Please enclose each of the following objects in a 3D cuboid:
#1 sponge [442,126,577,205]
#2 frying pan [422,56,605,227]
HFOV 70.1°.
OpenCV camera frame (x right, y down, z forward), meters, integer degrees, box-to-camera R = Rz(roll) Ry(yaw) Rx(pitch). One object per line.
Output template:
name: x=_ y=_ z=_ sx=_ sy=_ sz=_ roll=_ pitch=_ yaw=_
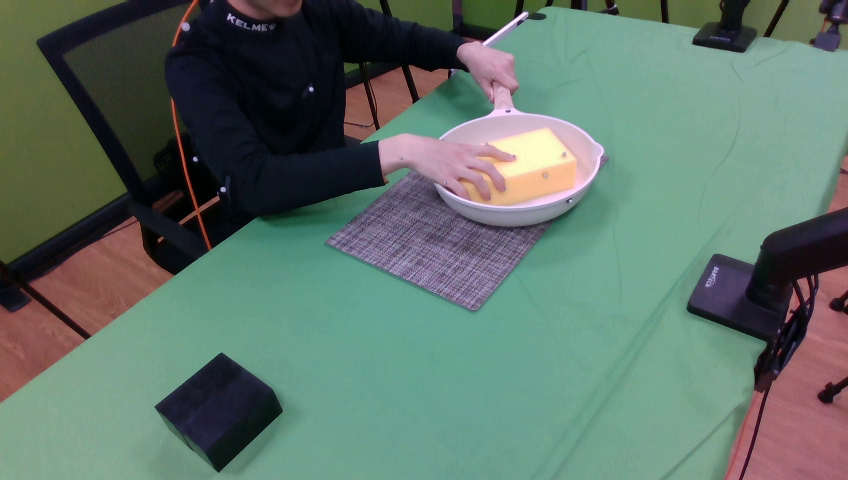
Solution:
sponge: x=0.145 y=-0.122 z=1.049 sx=0.207 sy=0.061 sz=0.117 roll=-15 pitch=42 yaw=-9
frying pan: x=0.155 y=-0.199 z=1.111 sx=0.307 sy=0.103 sz=0.485 roll=-2 pitch=49 yaw=4
